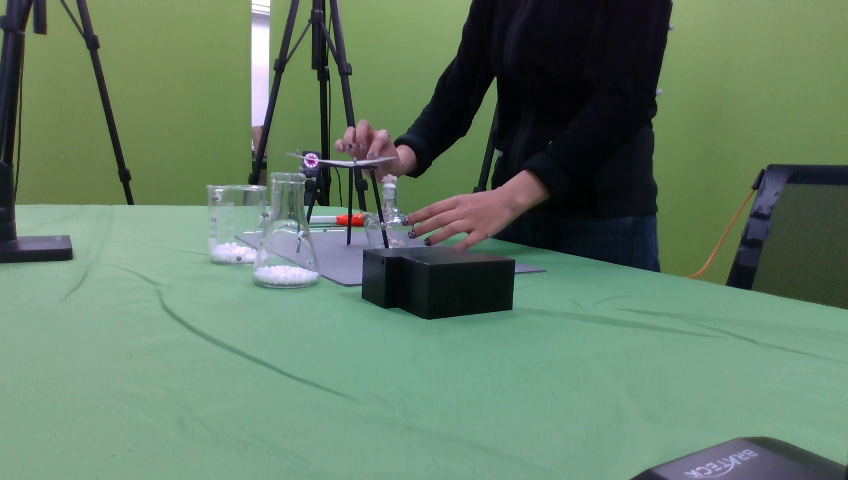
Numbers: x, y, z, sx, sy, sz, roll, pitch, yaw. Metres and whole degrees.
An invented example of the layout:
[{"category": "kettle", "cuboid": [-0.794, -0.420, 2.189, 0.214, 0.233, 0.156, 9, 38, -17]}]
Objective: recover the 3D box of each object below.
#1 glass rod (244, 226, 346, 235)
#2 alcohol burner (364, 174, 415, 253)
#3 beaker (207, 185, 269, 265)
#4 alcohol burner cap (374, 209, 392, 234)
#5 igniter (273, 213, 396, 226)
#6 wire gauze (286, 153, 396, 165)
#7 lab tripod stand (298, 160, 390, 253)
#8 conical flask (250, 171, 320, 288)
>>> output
[{"category": "glass rod", "cuboid": [-0.239, -0.019, 1.146, 0.201, 0.008, 0.008, -4, 9, -29]}, {"category": "alcohol burner", "cuboid": [-0.053, -0.041, 0.918, 0.078, 0.119, 0.078, 0, 7, 0]}, {"category": "beaker", "cuboid": [-0.244, -0.021, 0.784, 0.083, 0.100, 0.074, 6, 8, 30]}, {"category": "alcohol burner cap", "cuboid": [-0.078, -0.036, 1.148, 0.034, 0.048, 0.034, 2, 7, 0]}, {"category": "igniter", "cuboid": [-0.178, -0.044, 1.258, 0.278, 0.025, 0.057, -3, -1, -39]}, {"category": "wire gauze", "cuboid": [-0.118, -0.119, 0.888, 0.124, 0.011, 0.122, 8, 10, 30]}, {"category": "lab tripod stand", "cuboid": [-0.111, -0.050, 0.893, 0.148, 0.131, 0.148, 4, 6, 0]}, {"category": "conical flask", "cuboid": [-0.150, -0.013, 0.658, 0.075, 0.122, 0.075, 2, 7, 0]}]
